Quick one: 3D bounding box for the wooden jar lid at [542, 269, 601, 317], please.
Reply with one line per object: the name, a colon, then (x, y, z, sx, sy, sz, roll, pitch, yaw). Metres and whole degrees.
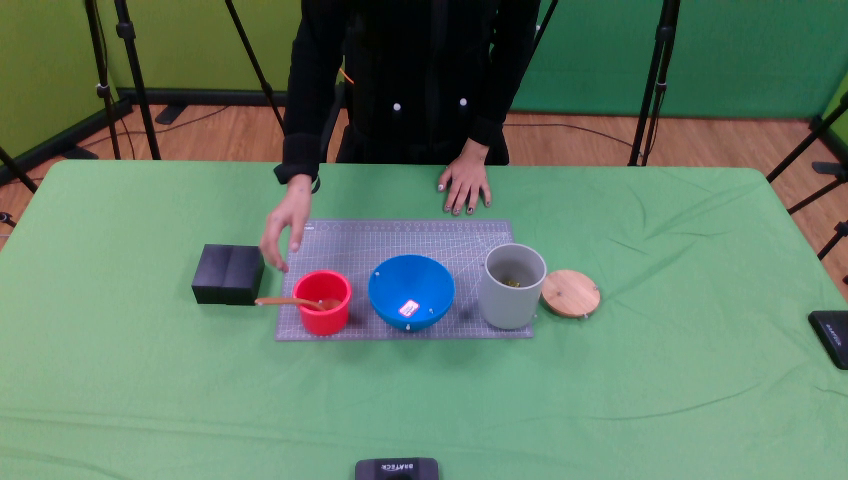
wooden jar lid: (0.272, 0.100, 1.121, 0.108, 0.021, 0.107, 3, 47, -2)

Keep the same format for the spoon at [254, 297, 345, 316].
spoon: (-0.200, 0.104, 0.995, 0.041, 0.021, 0.195, 46, 15, 32)

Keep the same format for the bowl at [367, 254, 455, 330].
bowl: (-0.023, 0.104, 1.053, 0.151, 0.077, 0.150, 2, 46, -2)

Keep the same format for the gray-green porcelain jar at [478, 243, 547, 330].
gray-green porcelain jar: (0.150, 0.085, 1.049, 0.106, 0.127, 0.105, 2, 46, -2)
